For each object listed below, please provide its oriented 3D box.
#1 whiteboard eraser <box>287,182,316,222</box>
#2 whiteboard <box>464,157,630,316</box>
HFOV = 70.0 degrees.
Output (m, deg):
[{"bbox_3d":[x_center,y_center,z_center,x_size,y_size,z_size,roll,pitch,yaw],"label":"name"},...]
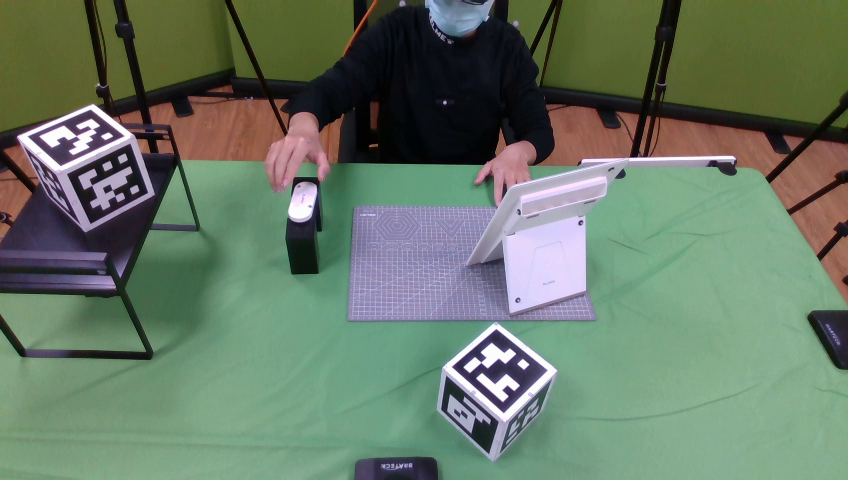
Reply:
[{"bbox_3d":[-0.224,-0.071,1.111,0.041,0.019,0.100,3,45,-1],"label":"whiteboard eraser"},{"bbox_3d":[0.224,0.014,1.041,0.217,0.306,0.143,-14,68,-17],"label":"whiteboard"}]
